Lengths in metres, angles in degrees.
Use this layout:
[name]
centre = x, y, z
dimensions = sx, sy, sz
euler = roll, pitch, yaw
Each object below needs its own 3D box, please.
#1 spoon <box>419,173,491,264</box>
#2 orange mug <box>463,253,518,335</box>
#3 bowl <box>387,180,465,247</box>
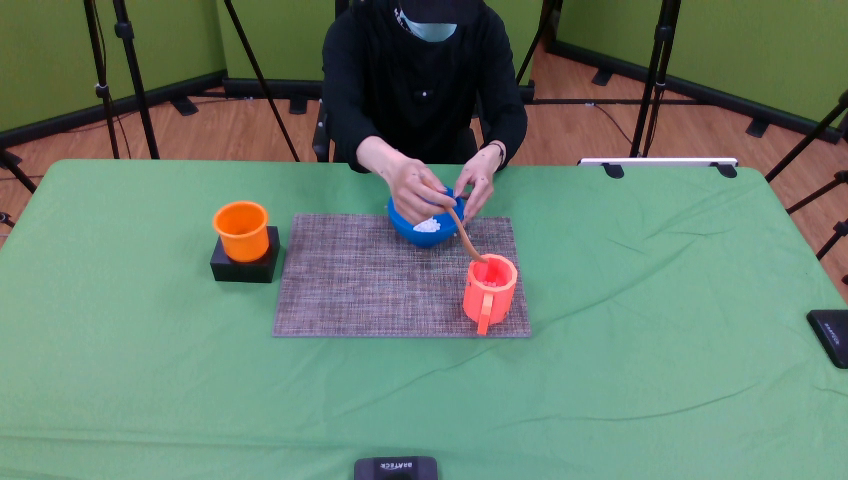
[spoon]
centre = 0.051, -0.033, 0.990
dimensions = 0.021, 0.194, 0.041
euler = -38, 17, -13
[orange mug]
centre = 0.113, 0.098, 1.050
dimensions = 0.083, 0.101, 0.125
euler = 9, 41, 5
[bowl]
centre = 0.003, -0.040, 1.190
dimensions = 0.151, 0.077, 0.150
euler = 2, 46, -2
